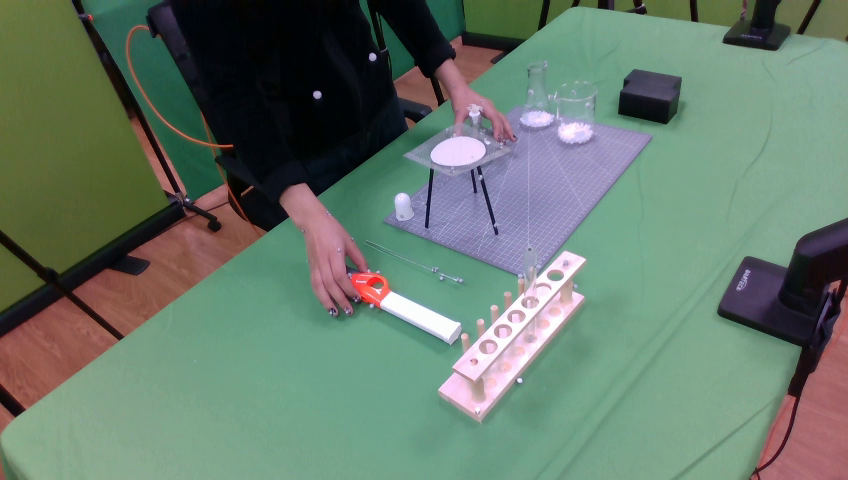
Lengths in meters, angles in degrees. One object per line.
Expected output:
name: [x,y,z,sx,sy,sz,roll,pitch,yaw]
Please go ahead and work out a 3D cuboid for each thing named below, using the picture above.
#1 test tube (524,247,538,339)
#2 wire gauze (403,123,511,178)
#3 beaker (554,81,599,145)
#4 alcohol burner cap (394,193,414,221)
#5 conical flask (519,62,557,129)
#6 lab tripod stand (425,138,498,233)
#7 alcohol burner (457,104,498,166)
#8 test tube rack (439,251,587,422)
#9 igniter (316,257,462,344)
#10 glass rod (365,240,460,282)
test tube: [0.133,0.070,0.749,0.017,0.151,0.017,-5,38,4]
wire gauze: [0.051,-0.140,0.943,0.125,0.011,0.120,-31,43,-24]
beaker: [0.286,-0.237,1.144,0.084,0.101,0.073,-17,40,-7]
alcohol burner cap: [-0.036,-0.059,1.040,0.034,0.048,0.033,-5,41,5]
conical flask: [0.225,-0.288,1.198,0.075,0.122,0.075,-6,40,5]
lab tripod stand: [0.064,-0.091,0.988,0.148,0.132,0.147,-6,39,6]
alcohol burner: [0.099,-0.198,1.124,0.078,0.119,0.077,-5,38,4]
test tube rack: [0.118,0.111,0.780,0.066,0.085,0.243,26,51,35]
igniter: [-0.062,0.083,0.892,0.274,0.025,0.057,23,53,33]
glass rod: [-0.022,0.032,0.961,0.198,0.008,0.008,21,49,35]
